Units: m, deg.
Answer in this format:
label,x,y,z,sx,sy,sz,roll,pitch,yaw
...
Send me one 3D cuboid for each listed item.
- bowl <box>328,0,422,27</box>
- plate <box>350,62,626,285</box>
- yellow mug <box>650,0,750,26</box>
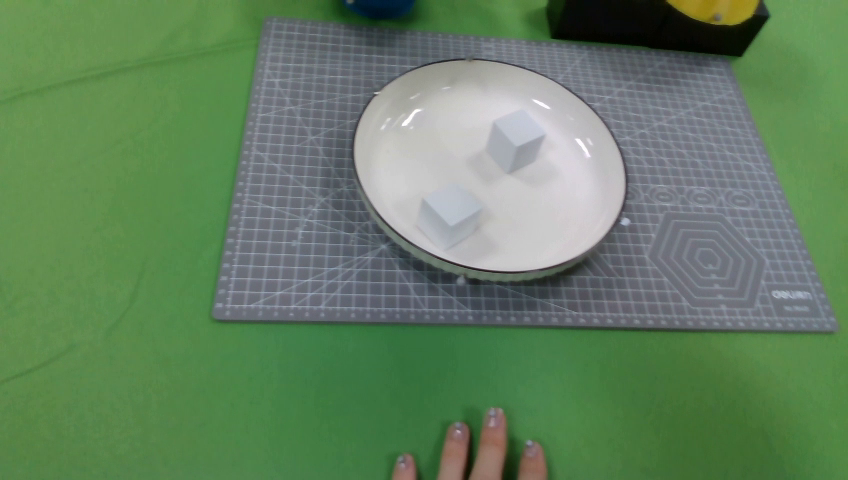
label,x,y,z,sx,sy,sz,roll,pitch,yaw
bowl,-0.049,-0.254,0.562,0.151,0.077,0.150,4,57,-5
plate,0.048,-0.052,0.466,0.208,0.039,0.205,4,57,-6
yellow mug,0.248,-0.250,0.551,0.131,0.064,0.099,-12,60,-15
